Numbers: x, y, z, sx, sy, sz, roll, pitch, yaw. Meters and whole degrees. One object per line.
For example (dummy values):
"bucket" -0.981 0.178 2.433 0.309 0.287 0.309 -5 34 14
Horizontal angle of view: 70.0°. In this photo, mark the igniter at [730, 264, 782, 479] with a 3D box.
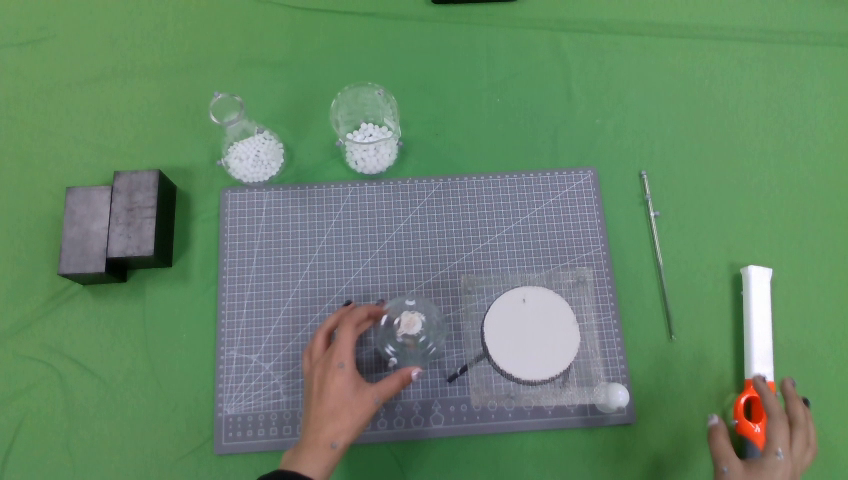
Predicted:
"igniter" 0.360 0.161 0.658 0.057 0.025 0.275 10 74 -9

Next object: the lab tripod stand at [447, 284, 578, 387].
"lab tripod stand" 0.092 0.105 0.609 0.148 0.132 0.147 0 76 -1

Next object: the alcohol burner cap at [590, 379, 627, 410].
"alcohol burner cap" 0.198 0.164 0.643 0.034 0.048 0.033 0 74 0

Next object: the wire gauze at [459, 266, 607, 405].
"wire gauze" 0.097 0.085 0.545 0.125 0.011 0.121 -2 75 -1

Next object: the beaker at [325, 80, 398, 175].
"beaker" -0.065 -0.122 0.691 0.084 0.101 0.074 31 76 7

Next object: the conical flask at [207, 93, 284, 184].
"conical flask" -0.203 -0.117 0.674 0.075 0.122 0.075 0 74 -1

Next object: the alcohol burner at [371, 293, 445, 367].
"alcohol burner" -0.017 0.091 0.621 0.078 0.119 0.077 1 77 -2

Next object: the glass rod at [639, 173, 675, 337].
"glass rod" 0.271 0.014 0.706 0.008 0.008 0.198 -4 74 -3
